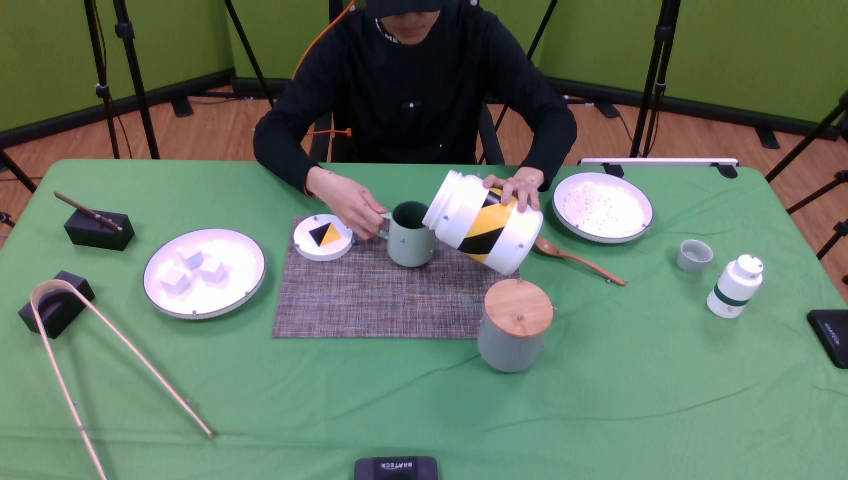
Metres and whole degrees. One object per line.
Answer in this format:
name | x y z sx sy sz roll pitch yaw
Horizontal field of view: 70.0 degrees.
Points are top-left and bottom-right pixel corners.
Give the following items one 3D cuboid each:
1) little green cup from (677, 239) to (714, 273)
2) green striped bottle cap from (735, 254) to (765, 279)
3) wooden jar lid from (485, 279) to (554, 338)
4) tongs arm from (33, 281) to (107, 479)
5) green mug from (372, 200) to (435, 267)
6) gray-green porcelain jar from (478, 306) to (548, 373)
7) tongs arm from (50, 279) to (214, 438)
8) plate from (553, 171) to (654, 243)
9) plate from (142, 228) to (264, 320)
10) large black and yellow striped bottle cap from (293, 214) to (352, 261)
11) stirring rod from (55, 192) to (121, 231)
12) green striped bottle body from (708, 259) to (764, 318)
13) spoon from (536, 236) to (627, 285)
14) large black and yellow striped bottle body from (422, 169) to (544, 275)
little green cup | 0.530 0.033 1.189 0.061 0.039 0.061 2 47 -2
green striped bottle cap | 0.566 0.046 1.051 0.044 0.020 0.044 0 45 0
wooden jar lid | 0.147 0.108 0.940 0.108 0.021 0.107 4 47 -4
tongs arm | -0.517 0.214 0.909 0.051 0.026 0.383 -28 63 -27
green mug | -0.040 -0.015 1.145 0.125 0.105 0.092 16 48 10
gray-green porcelain jar | 0.144 0.148 0.989 0.106 0.127 0.105 2 50 -2
tongs arm | -0.459 0.178 0.949 0.386 0.028 0.028 37 60 17
plate | 0.373 -0.066 1.275 0.209 0.038 0.208 2 46 -2
plate | -0.394 0.064 1.095 0.208 0.039 0.206 2 46 -2
large black and yellow striped bottle cap | -0.198 -0.007 1.187 0.115 0.019 0.114 3 47 -3
stirring rod | -0.632 -0.055 1.138 0.175 0.014 0.006 24 50 19
green striped bottle body | 0.563 0.081 1.089 0.063 0.120 0.063 2 46 -2
spoon | 0.304 0.040 1.178 0.193 0.022 0.041 25 33 19
large black and yellow striped bottle body | 0.101 -0.034 1.061 0.184 0.131 0.130 28 48 0
